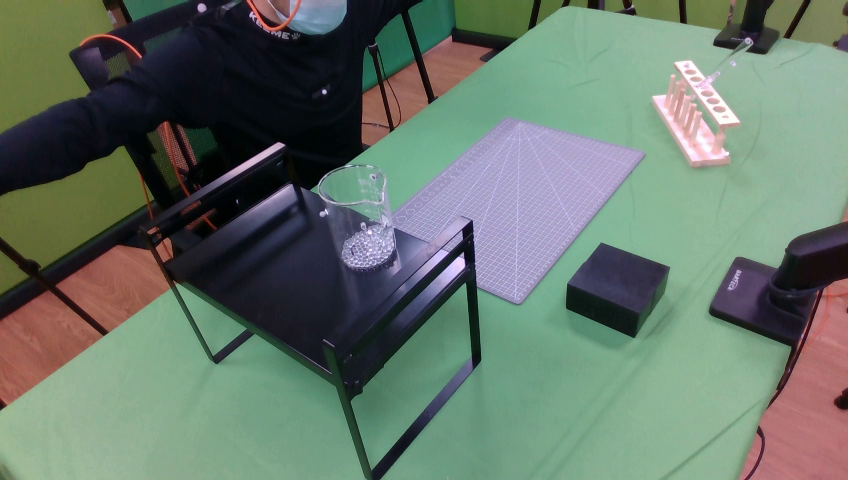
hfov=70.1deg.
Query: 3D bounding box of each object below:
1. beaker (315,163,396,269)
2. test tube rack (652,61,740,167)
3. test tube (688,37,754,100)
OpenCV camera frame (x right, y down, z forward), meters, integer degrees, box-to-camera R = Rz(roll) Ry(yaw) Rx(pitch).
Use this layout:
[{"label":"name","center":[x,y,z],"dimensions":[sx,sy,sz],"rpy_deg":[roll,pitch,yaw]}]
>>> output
[{"label":"beaker","center":[-0.070,-0.024,0.671],"dimensions":[0.083,0.101,0.074],"rpy_deg":[27,52,32]},{"label":"test tube rack","center":[0.499,-0.242,1.130],"dimensions":[0.067,0.085,0.241],"rpy_deg":[-5,41,3]},{"label":"test tube","center":[0.526,-0.302,1.077],"dimensions":[0.017,0.150,0.017],"rpy_deg":[10,58,-16]}]
